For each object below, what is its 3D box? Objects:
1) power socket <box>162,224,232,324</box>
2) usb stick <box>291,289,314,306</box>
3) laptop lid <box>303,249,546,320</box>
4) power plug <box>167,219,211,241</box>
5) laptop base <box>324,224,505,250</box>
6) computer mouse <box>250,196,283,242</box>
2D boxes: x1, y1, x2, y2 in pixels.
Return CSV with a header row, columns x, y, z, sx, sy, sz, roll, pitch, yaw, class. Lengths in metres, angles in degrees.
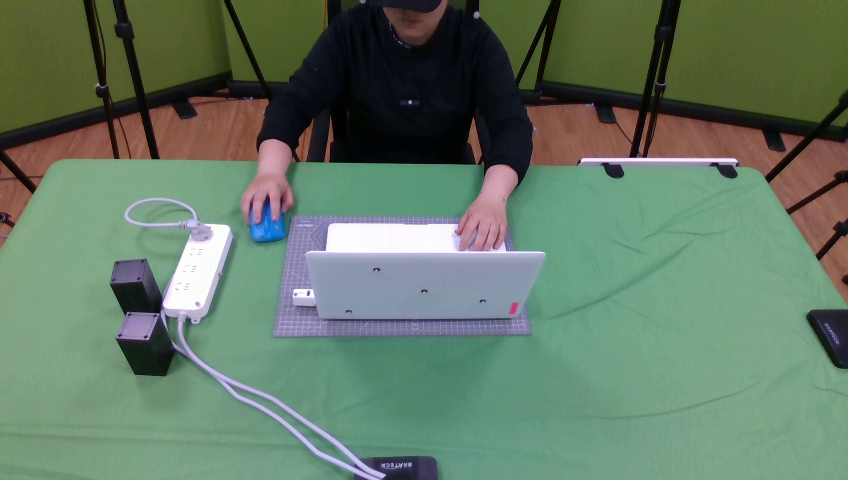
x,y,z,sx,sy,sz,roll,pitch,yaw,class
-0.411,0.052,1.106,0.072,0.033,0.225,4,45,-1,power socket
-0.203,0.101,1.067,0.059,0.027,0.021,4,45,-6,usb stick
-0.002,0.077,0.962,0.357,0.242,0.013,1,58,-5,laptop lid
-0.438,-0.017,1.144,0.072,0.053,0.035,11,44,6,power plug
-0.014,0.055,1.144,0.355,0.023,0.234,0,42,-4,laptop base
-0.315,-0.045,1.207,0.063,0.041,0.116,-4,51,-11,computer mouse
